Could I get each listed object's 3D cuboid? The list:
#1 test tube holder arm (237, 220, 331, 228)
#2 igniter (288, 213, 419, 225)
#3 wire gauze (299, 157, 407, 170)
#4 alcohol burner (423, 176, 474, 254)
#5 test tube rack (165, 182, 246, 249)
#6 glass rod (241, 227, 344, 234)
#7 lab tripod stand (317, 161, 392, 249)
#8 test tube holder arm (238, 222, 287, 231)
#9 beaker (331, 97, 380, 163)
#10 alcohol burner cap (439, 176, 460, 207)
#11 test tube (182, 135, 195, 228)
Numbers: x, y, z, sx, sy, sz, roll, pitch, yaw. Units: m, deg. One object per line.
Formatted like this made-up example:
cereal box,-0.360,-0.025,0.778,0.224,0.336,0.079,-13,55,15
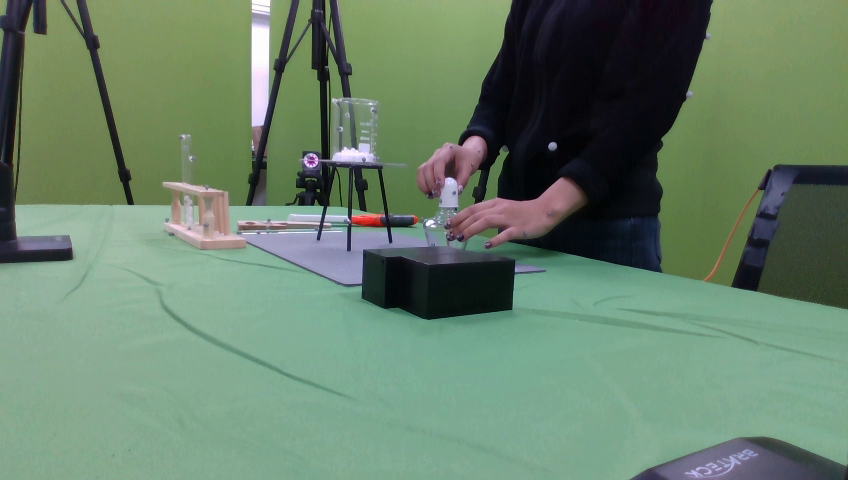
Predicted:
test tube holder arm,-0.260,-0.029,1.140,0.179,0.015,0.013,-2,41,-32
igniter,-0.145,-0.044,1.278,0.278,0.025,0.057,-1,-2,-21
wire gauze,-0.112,-0.124,0.959,0.121,0.011,0.126,13,11,40
alcohol burner,0.038,-0.038,0.929,0.078,0.119,0.078,0,8,0
test tube rack,-0.360,-0.045,0.982,0.067,0.085,0.241,-3,9,-34
glass rod,-0.239,-0.019,1.118,0.201,0.008,0.008,-3,8,-33
lab tripod stand,-0.111,-0.059,0.963,0.148,0.131,0.148,4,8,0
test tube holder arm,-0.296,-0.024,1.113,0.088,0.015,0.010,-1,41,-32
beaker,-0.111,-0.171,0.950,0.073,0.100,0.084,12,12,42
alcohol burner cap,0.038,-0.073,0.924,0.034,0.048,0.034,-2,7,1
test tube,-0.382,-0.095,0.983,0.017,0.150,0.017,-1,2,0
